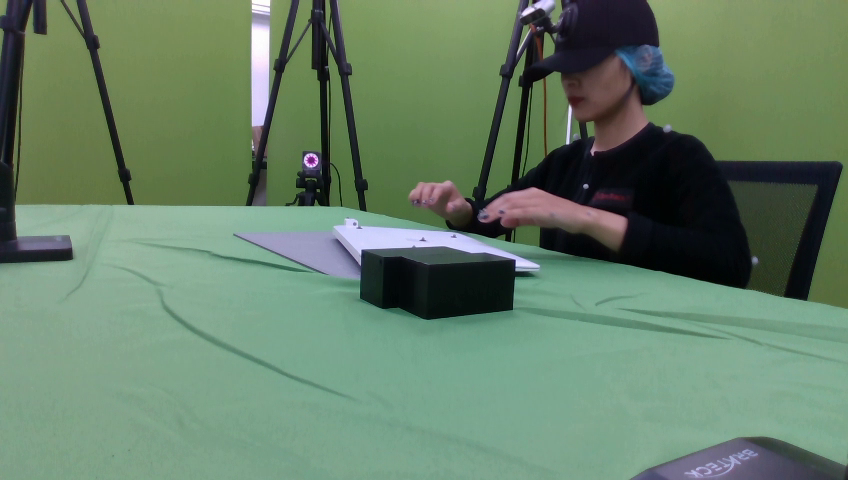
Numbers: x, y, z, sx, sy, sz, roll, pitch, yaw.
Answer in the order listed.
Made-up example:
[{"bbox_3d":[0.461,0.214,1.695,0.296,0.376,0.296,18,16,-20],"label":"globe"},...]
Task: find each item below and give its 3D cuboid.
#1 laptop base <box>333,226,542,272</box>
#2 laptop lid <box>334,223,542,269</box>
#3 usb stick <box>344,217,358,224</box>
[{"bbox_3d":[-0.004,0.015,0.903,0.236,0.023,0.353,5,6,-15],"label":"laptop base"},{"bbox_3d":[-0.001,0.004,0.903,0.242,0.013,0.355,4,7,-14],"label":"laptop lid"},{"bbox_3d":[-0.128,-0.024,1.066,0.021,0.027,0.059,3,9,-13],"label":"usb stick"}]
